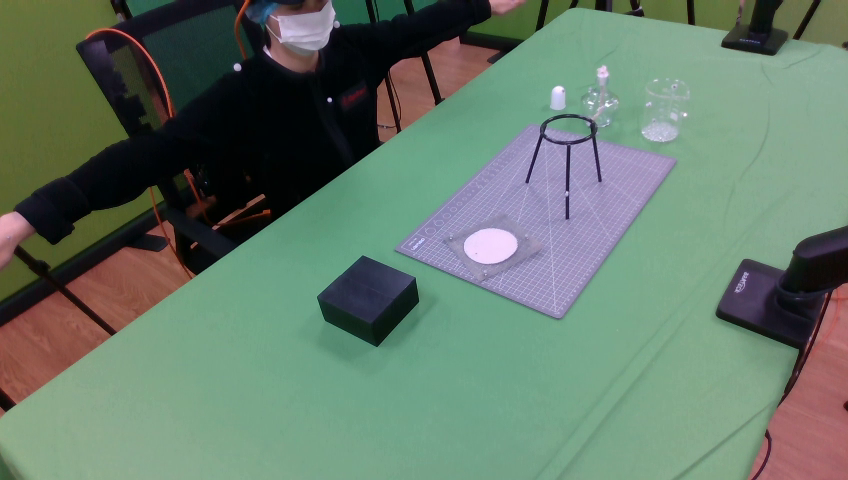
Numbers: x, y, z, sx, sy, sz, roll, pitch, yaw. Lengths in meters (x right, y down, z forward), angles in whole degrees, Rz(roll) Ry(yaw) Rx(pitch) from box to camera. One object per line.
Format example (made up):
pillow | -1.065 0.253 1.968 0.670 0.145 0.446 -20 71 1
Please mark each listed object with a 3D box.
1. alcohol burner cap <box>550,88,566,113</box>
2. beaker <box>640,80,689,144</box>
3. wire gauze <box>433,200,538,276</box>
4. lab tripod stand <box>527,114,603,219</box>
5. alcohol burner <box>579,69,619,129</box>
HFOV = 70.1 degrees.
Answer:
alcohol burner cap | 0.282 -0.296 1.270 0.034 0.048 0.033 -4 41 4
beaker | 0.446 -0.235 1.126 0.074 0.101 0.083 -34 47 -27
wire gauze | 0.096 -0.004 0.949 0.120 0.011 0.125 29 58 34
lab tripod stand | 0.234 -0.129 1.002 0.148 0.132 0.147 -6 40 6
alcohol burner | 0.345 -0.280 1.184 0.078 0.119 0.077 -4 42 4
